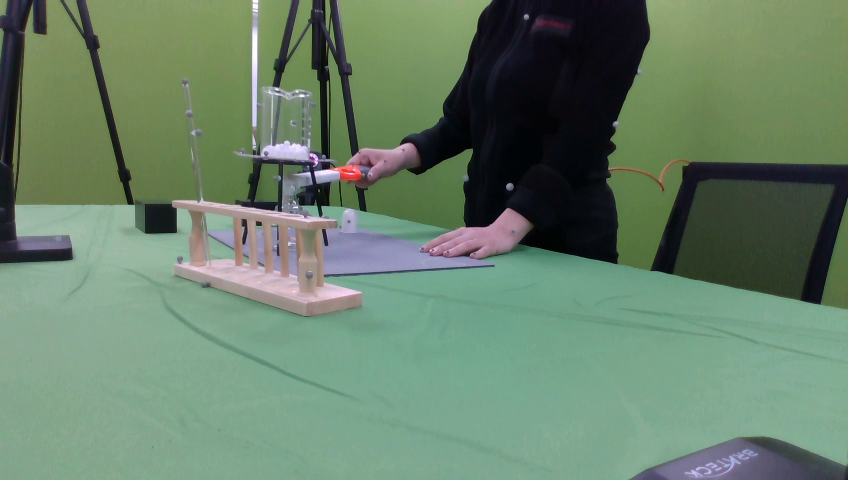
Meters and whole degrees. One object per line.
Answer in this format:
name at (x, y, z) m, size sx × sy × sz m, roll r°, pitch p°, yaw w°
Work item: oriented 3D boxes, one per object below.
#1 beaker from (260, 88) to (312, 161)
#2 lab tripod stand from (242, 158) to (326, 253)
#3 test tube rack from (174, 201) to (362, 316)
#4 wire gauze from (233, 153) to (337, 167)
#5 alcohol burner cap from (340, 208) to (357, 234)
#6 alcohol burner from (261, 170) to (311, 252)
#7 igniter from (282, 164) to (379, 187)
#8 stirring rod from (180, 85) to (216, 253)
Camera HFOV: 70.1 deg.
beaker at (-0.200, -0.166, 0.876) m, size 0.074 × 0.100 × 0.083 m, roll 1°, pitch 7°, yaw -18°
lab tripod stand at (-0.207, -0.054, 0.895) m, size 0.148 × 0.131 × 0.148 m, roll 3°, pitch 5°, yaw 0°
test tube rack at (-0.169, 0.009, 0.622) m, size 0.241 × 0.085 × 0.067 m, roll 9°, pitch 9°, yaw 41°
wire gauze at (-0.205, -0.119, 0.887) m, size 0.122 × 0.011 × 0.124 m, roll 2°, pitch 4°, yaw -32°
alcohol burner cap at (-0.142, -0.035, 1.136) m, size 0.034 × 0.048 × 0.034 m, roll 2°, pitch 6°, yaw 0°
alcohol burner at (-0.200, -0.043, 0.891) m, size 0.078 × 0.119 × 0.078 m, roll 1°, pitch 6°, yaw 0°
igniter at (-0.150, -0.111, 1.026) m, size 0.057 × 0.025 × 0.277 m, roll 10°, pitch 13°, yaw 20°
stirring rod at (-0.237, -0.073, 0.634) m, size 0.006 × 0.176 × 0.014 m, roll 0°, pitch 10°, yaw 42°
